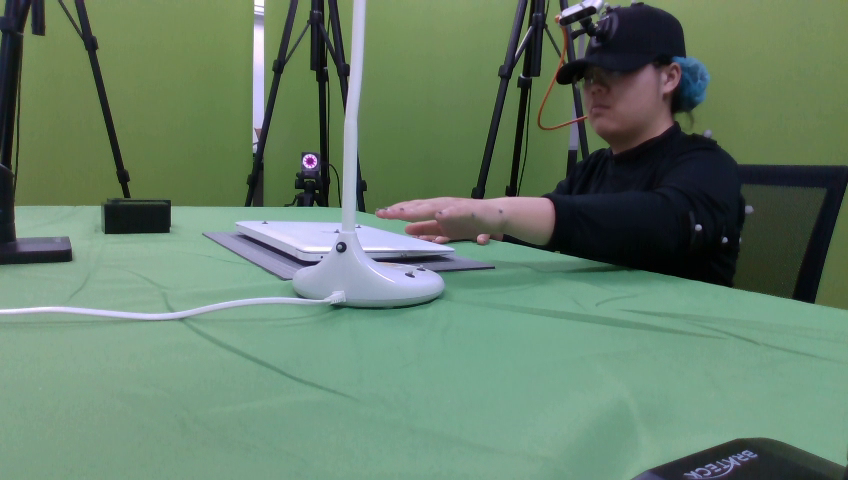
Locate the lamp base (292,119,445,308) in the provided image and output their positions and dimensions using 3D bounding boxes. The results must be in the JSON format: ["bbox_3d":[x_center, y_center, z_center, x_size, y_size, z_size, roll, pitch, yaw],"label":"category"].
[{"bbox_3d":[-0.056,-0.030,0.616,0.160,0.180,0.179,3,10,8],"label":"lamp base"}]

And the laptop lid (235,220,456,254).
[{"bbox_3d":[-0.139,-0.008,0.958,0.243,0.013,0.355,1,7,-31],"label":"laptop lid"}]

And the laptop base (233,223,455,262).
[{"bbox_3d":[-0.141,0.003,0.959,0.237,0.023,0.352,2,6,-32],"label":"laptop base"}]
